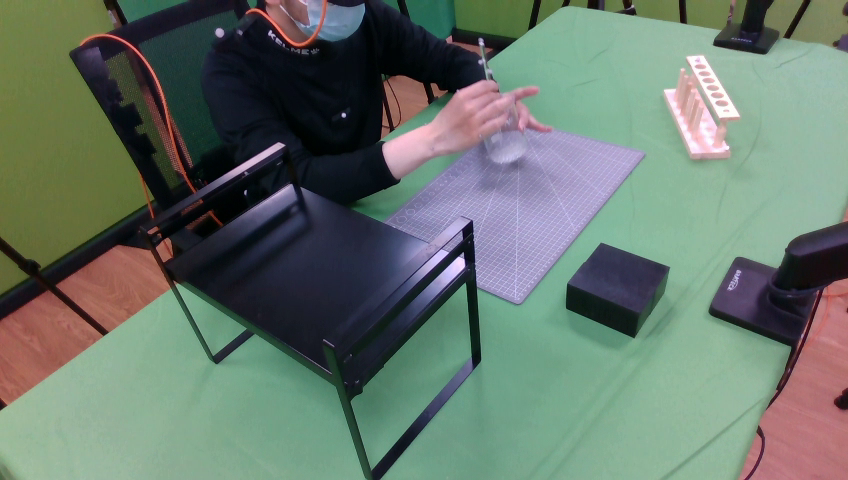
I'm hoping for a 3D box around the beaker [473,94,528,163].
[{"bbox_3d":[0.138,-0.194,1.053,0.084,0.101,0.073,-39,35,-22],"label":"beaker"}]

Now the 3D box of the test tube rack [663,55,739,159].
[{"bbox_3d":[0.517,-0.256,1.144,0.066,0.085,0.241,-1,41,8],"label":"test tube rack"}]

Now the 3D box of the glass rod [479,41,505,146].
[{"bbox_3d":[0.113,-0.236,0.996,0.008,0.201,0.008,-11,43,11],"label":"glass rod"}]
